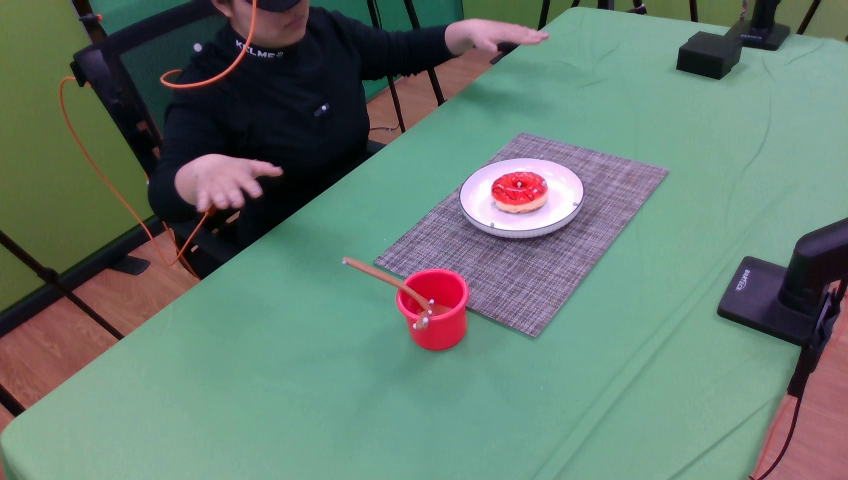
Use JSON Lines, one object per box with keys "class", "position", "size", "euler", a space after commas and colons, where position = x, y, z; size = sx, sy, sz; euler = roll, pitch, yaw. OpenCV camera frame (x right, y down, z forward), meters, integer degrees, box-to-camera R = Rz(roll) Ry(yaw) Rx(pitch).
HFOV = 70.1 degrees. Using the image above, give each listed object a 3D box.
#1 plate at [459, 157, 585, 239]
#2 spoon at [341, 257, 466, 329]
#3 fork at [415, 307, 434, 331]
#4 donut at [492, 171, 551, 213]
{"class": "plate", "position": [0.163, -0.068, 1.015], "size": [0.209, 0.038, 0.208], "euler": [-5, 40, 5]}
{"class": "spoon", "position": [-0.025, 0.069, 0.811], "size": [0.195, 0.021, 0.041], "euler": [34, 30, -18]}
{"class": "fork", "position": [0.001, 0.098, 0.761], "size": [0.028, 0.207, 0.018], "euler": [26, 87, 3]}
{"class": "donut", "position": [0.163, -0.083, 1.015], "size": [0.099, 0.048, 0.098], "euler": [-6, 37, 5]}
